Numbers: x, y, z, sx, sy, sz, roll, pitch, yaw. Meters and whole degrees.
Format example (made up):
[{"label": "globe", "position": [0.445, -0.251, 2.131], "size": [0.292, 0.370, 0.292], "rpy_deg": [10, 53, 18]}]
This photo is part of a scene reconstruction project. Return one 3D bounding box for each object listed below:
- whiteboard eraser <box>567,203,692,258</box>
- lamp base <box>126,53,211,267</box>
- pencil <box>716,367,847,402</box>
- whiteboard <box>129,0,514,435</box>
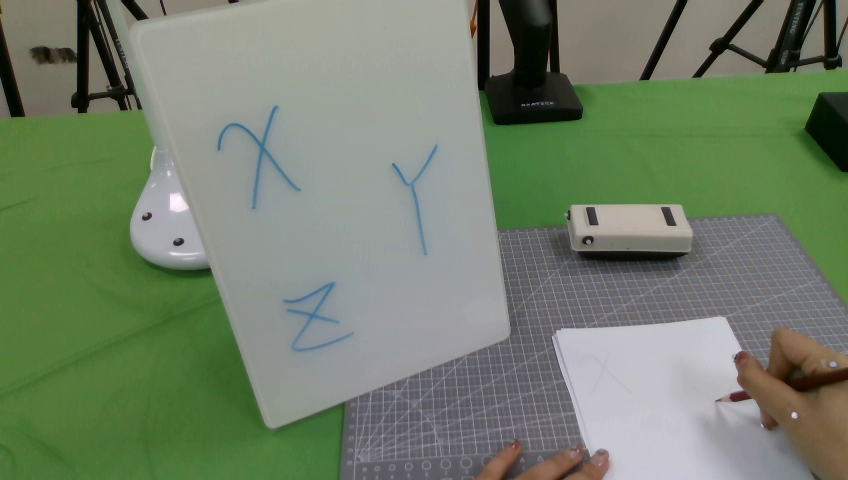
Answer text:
[{"label": "whiteboard eraser", "position": [0.202, -0.009, 0.603], "size": [0.112, 0.042, 0.055], "rpy_deg": [1, 42, 4]}, {"label": "lamp base", "position": [-0.246, -0.089, 0.615], "size": [0.177, 0.182, 0.160], "rpy_deg": [25, 48, 31]}, {"label": "pencil", "position": [0.258, 0.089, 0.390], "size": [0.012, 0.194, 0.012], "rpy_deg": [7, 66, -16]}, {"label": "whiteboard", "position": [-0.070, -0.040, 0.498], "size": [0.217, 0.307, 0.142], "rpy_deg": [-17, 24, -15]}]
